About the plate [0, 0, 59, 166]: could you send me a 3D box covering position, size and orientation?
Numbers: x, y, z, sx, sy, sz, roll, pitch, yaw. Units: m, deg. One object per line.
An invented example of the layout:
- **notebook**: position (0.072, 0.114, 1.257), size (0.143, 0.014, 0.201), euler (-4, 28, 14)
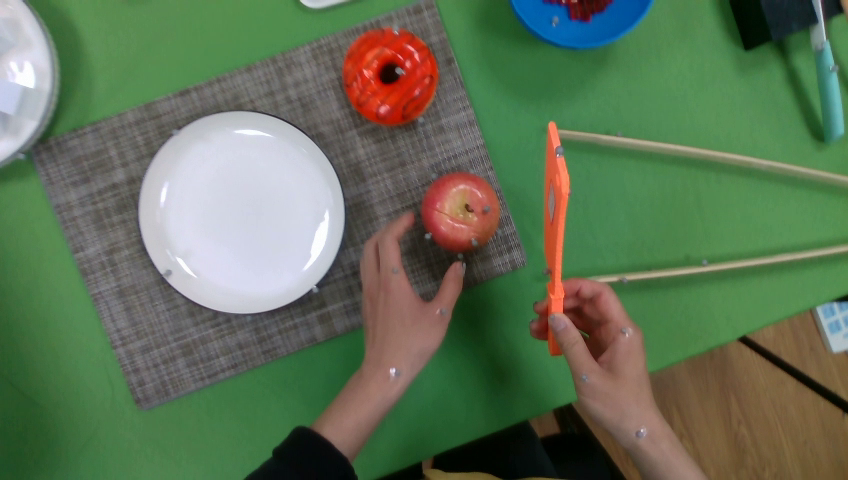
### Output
- **plate**: position (-0.470, -0.169, 0.611), size (0.208, 0.039, 0.207), euler (0, 94, -2)

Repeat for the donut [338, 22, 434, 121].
- **donut**: position (-0.039, -0.171, 0.618), size (0.099, 0.048, 0.099), euler (0, 96, 0)

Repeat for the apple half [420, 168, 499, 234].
- **apple half**: position (0.041, -0.045, 0.616), size (0.081, 0.074, 0.053), euler (23, 89, 0)

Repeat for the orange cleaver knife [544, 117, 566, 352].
- **orange cleaver knife**: position (0.106, 0.004, 0.502), size (0.012, 0.076, 0.213), euler (-4, 128, 5)

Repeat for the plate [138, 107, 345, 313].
- **plate**: position (-0.184, -0.030, 0.627), size (0.209, 0.038, 0.209), euler (0, 94, -2)

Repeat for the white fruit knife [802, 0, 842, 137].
- **white fruit knife**: position (0.401, -0.201, 0.618), size (0.016, 0.027, 0.209), euler (-23, 109, 0)

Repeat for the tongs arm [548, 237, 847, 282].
- **tongs arm**: position (0.324, 0.003, 0.652), size (0.385, 0.026, 0.050), euler (-5, 90, -2)

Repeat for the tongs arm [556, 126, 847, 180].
- **tongs arm**: position (0.323, -0.083, 0.650), size (0.388, 0.028, 0.028), euler (9, 85, -3)

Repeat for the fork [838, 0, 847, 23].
- **fork**: position (0.460, -0.183, 0.628), size (0.028, 0.018, 0.209), euler (-31, 110, -2)

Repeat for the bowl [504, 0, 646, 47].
- **bowl**: position (0.143, -0.262, 0.605), size (0.151, 0.076, 0.151), euler (0, 95, -2)

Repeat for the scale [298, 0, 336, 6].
- **scale**: position (-0.089, -0.354, 0.613), size (0.149, 0.031, 0.201), euler (-17, 95, 0)

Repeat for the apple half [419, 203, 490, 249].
- **apple half**: position (0.026, -0.009, 0.617), size (0.081, 0.081, 0.033), euler (24, 90, -3)
